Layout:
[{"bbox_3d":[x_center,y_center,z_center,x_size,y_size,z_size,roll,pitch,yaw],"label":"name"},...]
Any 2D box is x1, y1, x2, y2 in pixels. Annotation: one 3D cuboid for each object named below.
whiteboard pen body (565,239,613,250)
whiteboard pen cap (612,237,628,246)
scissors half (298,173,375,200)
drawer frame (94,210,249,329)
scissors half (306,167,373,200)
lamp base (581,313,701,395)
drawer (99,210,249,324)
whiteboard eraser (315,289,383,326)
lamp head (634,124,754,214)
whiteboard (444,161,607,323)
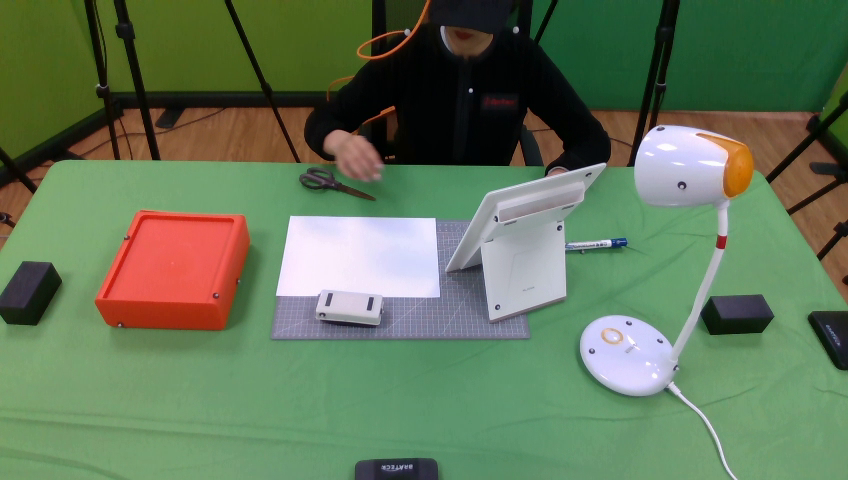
[{"bbox_3d":[0.331,0.008,1.211,0.141,0.017,0.017,-5,47,-4],"label":"whiteboard pen body"},{"bbox_3d":[0.390,0.004,1.215,0.033,0.018,0.018,-7,47,-2],"label":"whiteboard pen cap"},{"bbox_3d":[-0.188,-0.110,1.296,0.175,0.013,0.040,15,42,5],"label":"scissors half"},{"bbox_3d":[-0.434,0.048,1.076,0.202,0.083,0.212,2,47,-3],"label":"drawer frame"},{"bbox_3d":[-0.180,-0.121,1.311,0.174,0.013,0.040,27,39,18],"label":"scissors half"},{"bbox_3d":[0.361,0.144,0.972,0.178,0.181,0.160,34,53,23],"label":"lamp base"},{"bbox_3d":[-0.435,0.044,1.081,0.194,0.073,0.210,3,47,-2],"label":"drawer"},{"bbox_3d":[-0.130,0.119,1.054,0.113,0.042,0.055,6,47,1],"label":"whiteboard eraser"},{"bbox_3d":[0.351,-0.089,0.776,0.112,0.113,0.122,-30,30,-28],"label":"lamp head"},{"bbox_3d":[0.186,0.025,1.029,0.217,0.306,0.143,-14,68,-18],"label":"whiteboard"}]
